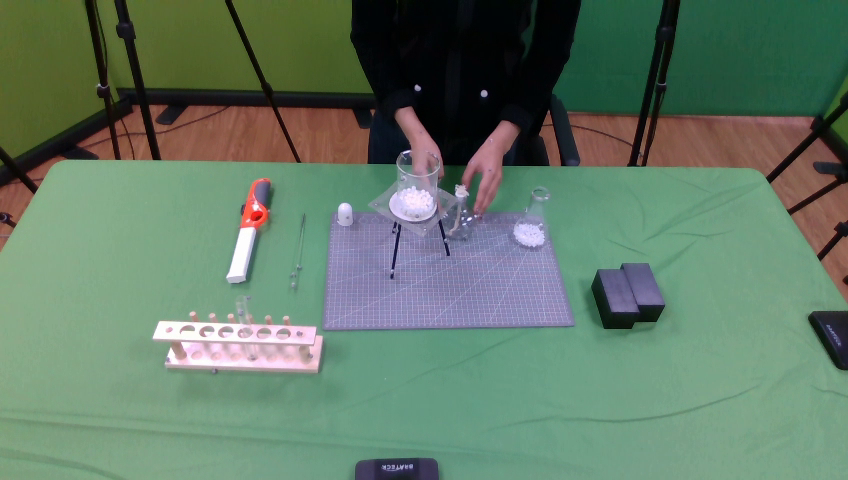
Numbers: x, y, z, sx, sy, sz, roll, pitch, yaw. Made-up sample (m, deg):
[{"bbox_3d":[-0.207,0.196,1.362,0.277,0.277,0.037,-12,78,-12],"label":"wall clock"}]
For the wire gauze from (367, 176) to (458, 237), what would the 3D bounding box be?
[{"bbox_3d":[-0.020,-0.066,1.089,0.124,0.011,0.121,27,47,22],"label":"wire gauze"}]

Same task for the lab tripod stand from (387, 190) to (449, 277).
[{"bbox_3d":[-0.021,-0.018,1.135,0.148,0.132,0.147,3,44,-3],"label":"lab tripod stand"}]

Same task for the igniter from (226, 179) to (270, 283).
[{"bbox_3d":[-0.345,-0.027,1.195,0.057,0.025,0.274,-6,46,5],"label":"igniter"}]

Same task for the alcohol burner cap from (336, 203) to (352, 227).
[{"bbox_3d":[-0.162,-0.053,1.220,0.034,0.048,0.033,2,47,-2],"label":"alcohol burner cap"}]

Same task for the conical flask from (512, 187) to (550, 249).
[{"bbox_3d":[0.217,-0.048,1.190,0.075,0.122,0.075,2,46,-2],"label":"conical flask"}]

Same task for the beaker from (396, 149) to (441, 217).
[{"bbox_3d":[-0.015,-0.098,1.053,0.074,0.101,0.083,-31,55,-30],"label":"beaker"}]

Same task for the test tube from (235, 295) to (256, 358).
[{"bbox_3d":[-0.274,0.136,0.933,0.017,0.151,0.017,4,46,-4],"label":"test tube"}]

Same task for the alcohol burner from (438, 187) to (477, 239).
[{"bbox_3d":[0.068,-0.059,1.195,0.078,0.119,0.077,4,46,-4],"label":"alcohol burner"}]

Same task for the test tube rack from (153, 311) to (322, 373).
[{"bbox_3d":[-0.293,0.160,0.978,0.242,0.085,0.066,3,46,-2],"label":"test tube rack"}]

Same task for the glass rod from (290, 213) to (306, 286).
[{"bbox_3d":[-0.244,0.015,1.175,0.008,0.008,0.198,1,43,-3],"label":"glass rod"}]
